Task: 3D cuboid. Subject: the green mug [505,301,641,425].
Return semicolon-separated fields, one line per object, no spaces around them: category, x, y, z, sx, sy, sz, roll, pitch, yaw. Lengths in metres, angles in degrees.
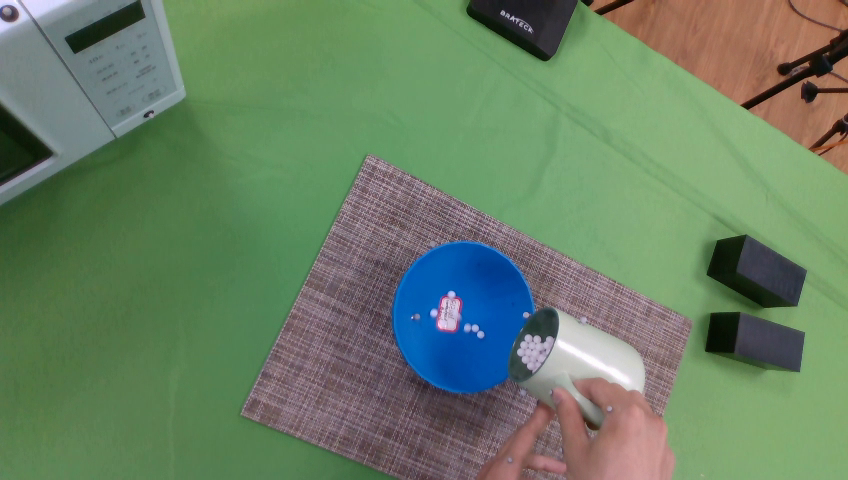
green mug;0.143;0.123;0.563;0.105;0.124;0.092;31;105;-14

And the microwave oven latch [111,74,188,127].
microwave oven latch;-0.265;-0.140;0.575;0.079;0.029;0.030;-35;94;-17

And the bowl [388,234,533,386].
bowl;0.029;0.073;0.630;0.152;0.076;0.151;2;83;-17

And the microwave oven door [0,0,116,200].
microwave oven door;-0.406;-0.029;0.414;0.355;0.243;0.039;-37;93;-17

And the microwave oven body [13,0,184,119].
microwave oven body;-0.461;-0.171;0.420;0.441;0.260;0.326;-37;95;-17
